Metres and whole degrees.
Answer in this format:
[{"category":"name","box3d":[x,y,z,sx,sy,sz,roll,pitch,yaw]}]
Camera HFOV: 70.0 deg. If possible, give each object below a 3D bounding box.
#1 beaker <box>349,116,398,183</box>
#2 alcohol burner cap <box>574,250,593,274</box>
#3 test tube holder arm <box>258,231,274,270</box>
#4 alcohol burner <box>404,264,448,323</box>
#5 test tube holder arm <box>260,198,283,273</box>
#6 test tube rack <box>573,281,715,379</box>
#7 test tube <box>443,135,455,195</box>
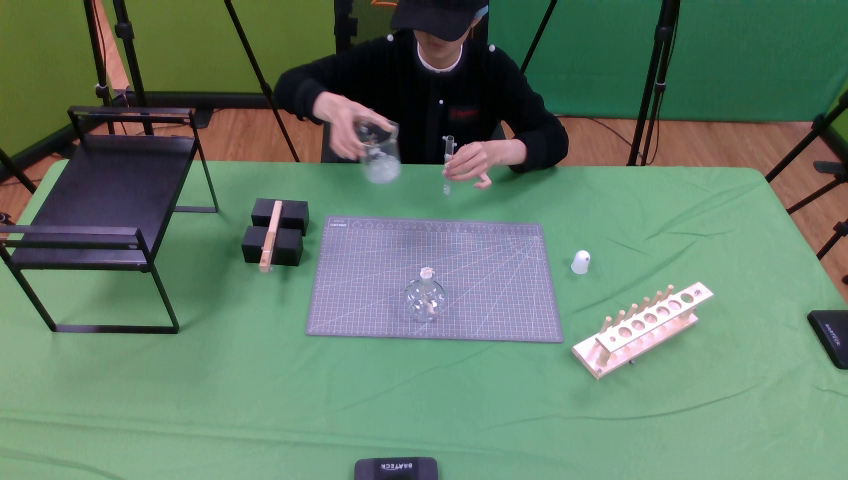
[{"category":"beaker","box3d":[-0.085,-0.160,1.083,0.084,0.101,0.073,-30,54,-18]},{"category":"alcohol burner cap","box3d":[0.308,0.039,1.163,0.034,0.048,0.033,1,46,-1]},{"category":"test tube holder arm","box3d":[-0.282,0.017,1.086,0.015,0.010,0.087,-2,47,2]},{"category":"alcohol burner","box3d":[0.003,0.087,1.042,0.078,0.120,0.077,1,45,0]},{"category":"test tube holder arm","box3d":[-0.282,-0.012,1.121,0.015,0.013,0.177,-2,48,2]},{"category":"test tube rack","box3d":[0.378,0.140,1.038,0.242,0.085,0.066,-22,51,-23]},{"category":"test tube","box3d":[0.047,-0.139,1.156,0.017,0.151,0.017,1,51,0]}]
